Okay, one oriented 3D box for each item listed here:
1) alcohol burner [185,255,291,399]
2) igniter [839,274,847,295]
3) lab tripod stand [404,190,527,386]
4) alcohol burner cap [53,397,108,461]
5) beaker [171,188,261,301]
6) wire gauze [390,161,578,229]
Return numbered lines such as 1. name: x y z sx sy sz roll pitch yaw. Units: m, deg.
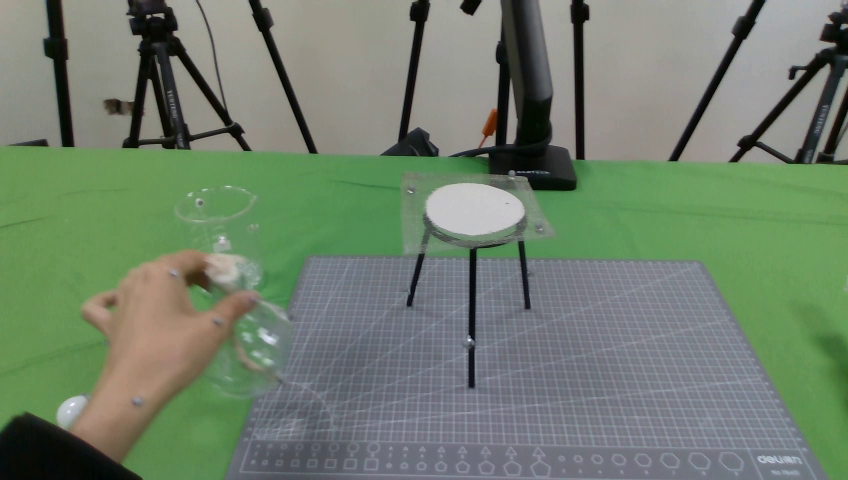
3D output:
1. alcohol burner: -0.140 0.060 0.451 0.078 0.120 0.077 2 34 -1
2. igniter: 0.402 0.107 0.454 0.057 0.025 0.274 0 30 3
3. lab tripod stand: 0.042 0.034 0.550 0.148 0.132 0.147 1 35 -1
4. alcohol burner cap: -0.270 0.144 0.471 0.034 0.048 0.033 1 31 0
5. beaker: -0.210 0.005 0.632 0.084 0.101 0.073 -23 40 -32
6. wire gauze: 0.047 -0.038 0.507 0.125 0.011 0.120 -7 29 -23
